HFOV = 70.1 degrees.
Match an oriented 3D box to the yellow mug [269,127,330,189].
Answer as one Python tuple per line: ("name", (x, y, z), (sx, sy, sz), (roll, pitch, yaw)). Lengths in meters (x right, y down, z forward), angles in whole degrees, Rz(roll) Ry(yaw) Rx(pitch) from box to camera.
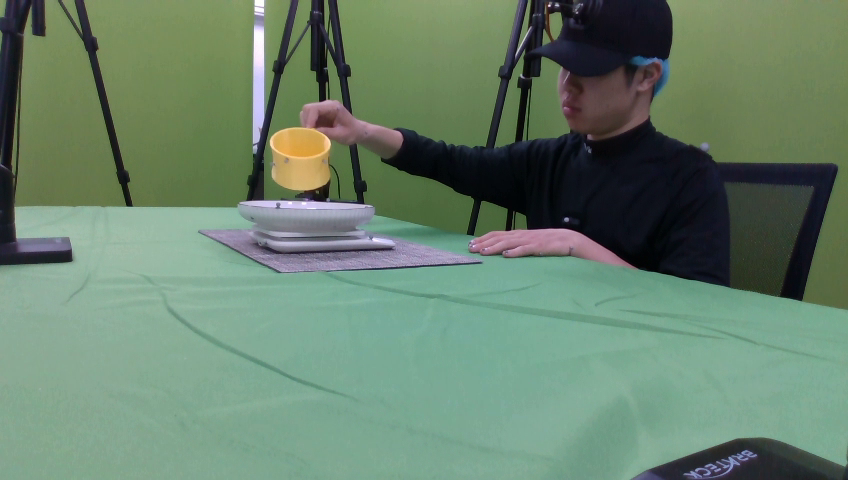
("yellow mug", (-0.209, -0.151, 1.046), (0.100, 0.064, 0.131), (11, 38, 3))

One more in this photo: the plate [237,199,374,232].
("plate", (-0.183, -0.039, 0.941), (0.209, 0.038, 0.209), (3, 7, 0))

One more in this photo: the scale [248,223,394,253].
("scale", (-0.162, -0.006, 0.954), (0.202, 0.031, 0.148), (-2, 8, -32))
